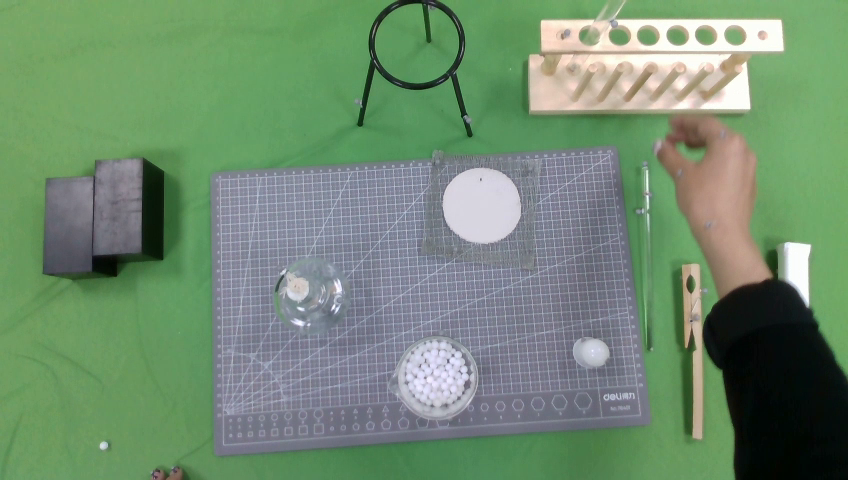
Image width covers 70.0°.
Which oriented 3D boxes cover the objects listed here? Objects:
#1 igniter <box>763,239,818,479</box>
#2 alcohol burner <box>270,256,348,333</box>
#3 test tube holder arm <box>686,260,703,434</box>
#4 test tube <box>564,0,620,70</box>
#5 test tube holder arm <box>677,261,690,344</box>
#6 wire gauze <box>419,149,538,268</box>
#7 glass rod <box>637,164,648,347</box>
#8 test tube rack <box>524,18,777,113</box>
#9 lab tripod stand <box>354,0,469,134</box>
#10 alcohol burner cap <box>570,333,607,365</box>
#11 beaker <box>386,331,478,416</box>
[{"bbox_3d":[0.377,0.136,0.626,0.057,0.025,0.275,6,81,-9],"label":"igniter"},{"bbox_3d":[-0.116,0.052,0.594,0.078,0.119,0.077,0,80,3],"label":"alcohol burner"},{"bbox_3d":[0.282,0.110,0.633,0.013,0.015,0.178,-6,80,34],"label":"test tube holder arm"},{"bbox_3d":[0.165,-0.206,0.602,0.017,0.150,0.017,0,81,-2],"label":"test tube"},{"bbox_3d":[0.277,0.066,0.643,0.010,0.015,0.087,-5,80,34],"label":"test tube holder arm"},{"bbox_3d":[0.060,-0.037,0.662,0.125,0.011,0.121,7,82,1],"label":"wire gauze"},{"bbox_3d":[0.237,0.015,0.655,0.008,0.008,0.199,1,83,0],"label":"glass rod"},{"bbox_3d":[0.234,-0.184,0.648,0.242,0.085,0.066,0,80,0],"label":"test tube rack"},{"bbox_3d":[-0.012,-0.170,0.622,0.148,0.132,0.148,0,82,1],"label":"lab tripod stand"},{"bbox_3d":[0.171,0.111,0.620,0.034,0.048,0.033,0,81,0],"label":"alcohol burner cap"},{"bbox_3d":[0.008,0.129,0.589,0.084,0.100,0.073,-12,80,-1],"label":"beaker"}]
